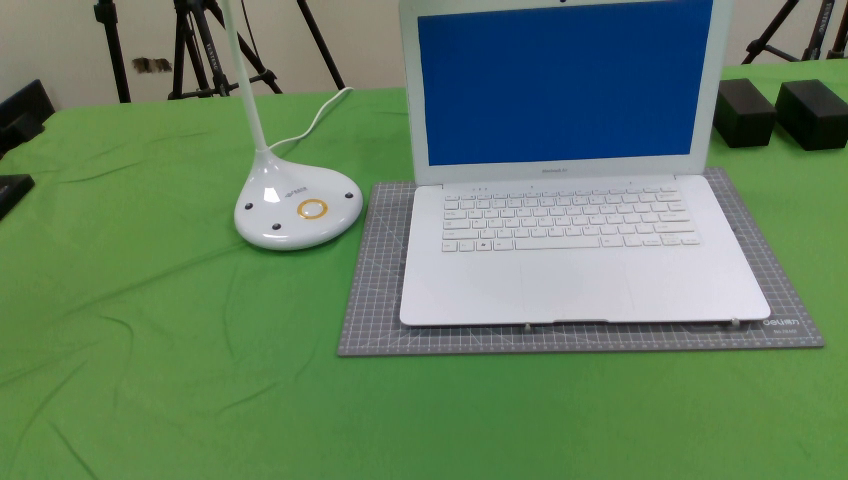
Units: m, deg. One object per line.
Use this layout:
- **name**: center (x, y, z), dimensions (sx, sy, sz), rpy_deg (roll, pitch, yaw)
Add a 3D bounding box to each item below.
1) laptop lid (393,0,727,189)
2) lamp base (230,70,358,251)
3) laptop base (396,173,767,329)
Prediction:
- **laptop lid**: center (0.149, -0.169, 0.695), dimensions (0.356, 0.244, 0.013), rpy_deg (-4, 32, 6)
- **lamp base**: center (-0.179, -0.103, 0.721), dimensions (0.177, 0.182, 0.160), rpy_deg (25, 48, 36)
- **laptop base**: center (0.153, 0.008, 0.668), dimensions (0.354, 0.023, 0.233), rpy_deg (-2, 42, 5)
